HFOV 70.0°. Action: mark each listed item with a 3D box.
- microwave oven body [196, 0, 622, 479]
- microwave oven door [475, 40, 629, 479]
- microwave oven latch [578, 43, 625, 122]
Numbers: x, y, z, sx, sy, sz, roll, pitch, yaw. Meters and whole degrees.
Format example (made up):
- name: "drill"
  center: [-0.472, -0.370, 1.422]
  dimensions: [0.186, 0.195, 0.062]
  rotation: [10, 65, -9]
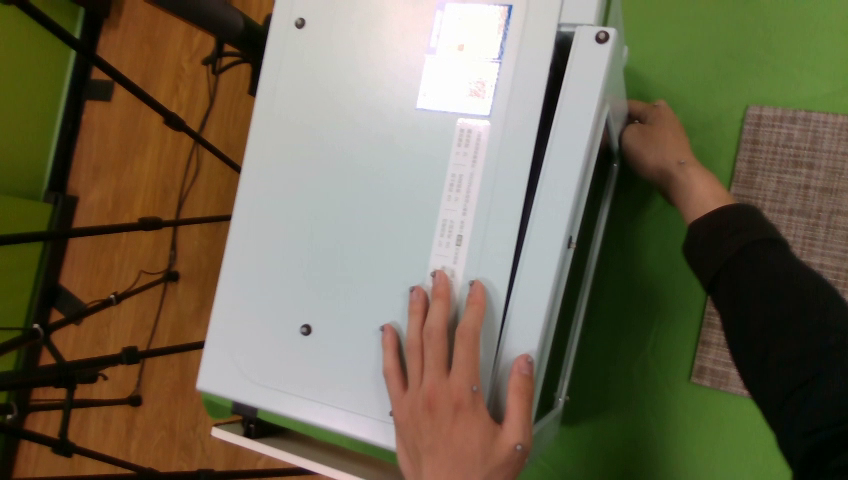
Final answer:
- name: "microwave oven body"
  center: [-0.002, -0.033, 0.629]
  dimensions: [0.324, 0.262, 0.441]
  rotation: [10, 87, 21]
- name: "microwave oven door"
  center: [0.129, 0.032, 0.566]
  dimensions: [0.039, 0.245, 0.355]
  rotation: [13, 88, 22]
- name: "microwave oven latch"
  center: [0.197, -0.175, 0.676]
  dimensions: [0.030, 0.030, 0.079]
  rotation: [27, 93, 21]
